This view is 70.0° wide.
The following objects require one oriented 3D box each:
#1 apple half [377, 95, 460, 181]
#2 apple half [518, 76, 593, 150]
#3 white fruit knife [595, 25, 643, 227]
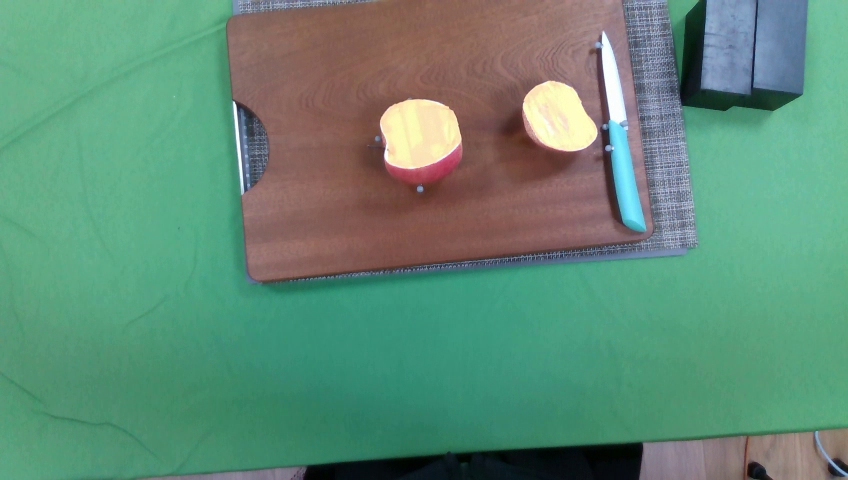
[{"bbox_3d":[-0.004,-0.090,0.572,0.074,0.054,0.080,-15,62,1],"label":"apple half"},{"bbox_3d":[0.120,-0.116,0.585,0.082,0.033,0.080,8,67,-19],"label":"apple half"},{"bbox_3d":[0.188,-0.114,0.600,0.027,0.016,0.207,-4,83,-30],"label":"white fruit knife"}]
